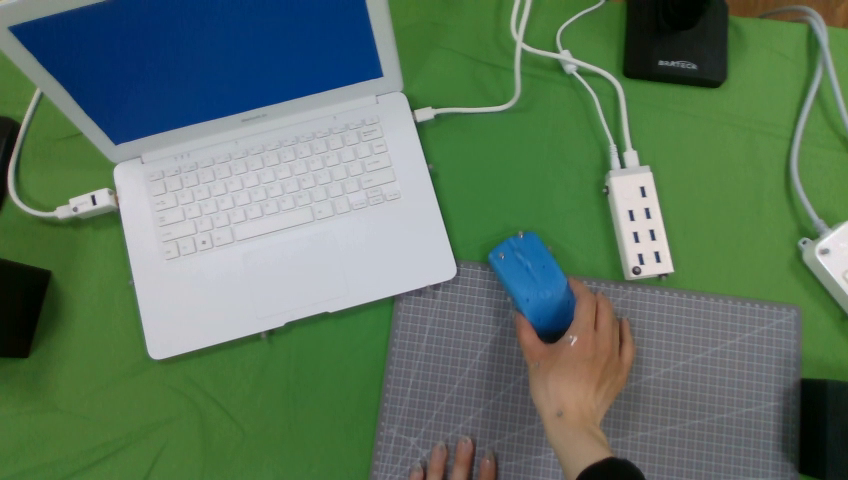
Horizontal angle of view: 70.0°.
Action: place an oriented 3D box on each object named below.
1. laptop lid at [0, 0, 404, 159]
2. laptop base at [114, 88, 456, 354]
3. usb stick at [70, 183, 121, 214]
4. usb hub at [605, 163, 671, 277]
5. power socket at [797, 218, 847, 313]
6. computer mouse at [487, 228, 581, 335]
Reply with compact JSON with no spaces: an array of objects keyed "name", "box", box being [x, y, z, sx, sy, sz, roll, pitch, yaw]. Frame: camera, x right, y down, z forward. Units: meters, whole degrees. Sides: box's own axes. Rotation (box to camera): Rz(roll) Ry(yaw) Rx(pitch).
[{"name":"laptop lid","box":[-0.203,-0.191,0.613,0.357,0.243,0.013,-16,63,-1]},{"name":"laptop base","box":[-0.162,-0.027,0.697,0.354,0.023,0.234,-15,82,-2]},{"name":"usb stick","box":[-0.368,-0.049,0.691,0.059,0.027,0.021,-15,82,-7]},{"name":"usb hub","box":[0.240,-0.023,0.686,0.049,0.025,0.124,-8,79,0]},{"name":"power socket","box":[0.507,0.073,0.659,0.072,0.033,0.226,-34,80,-6]},{"name":"computer mouse","box":[0.120,0.044,0.665,0.063,0.041,0.116,-27,74,-2]}]
